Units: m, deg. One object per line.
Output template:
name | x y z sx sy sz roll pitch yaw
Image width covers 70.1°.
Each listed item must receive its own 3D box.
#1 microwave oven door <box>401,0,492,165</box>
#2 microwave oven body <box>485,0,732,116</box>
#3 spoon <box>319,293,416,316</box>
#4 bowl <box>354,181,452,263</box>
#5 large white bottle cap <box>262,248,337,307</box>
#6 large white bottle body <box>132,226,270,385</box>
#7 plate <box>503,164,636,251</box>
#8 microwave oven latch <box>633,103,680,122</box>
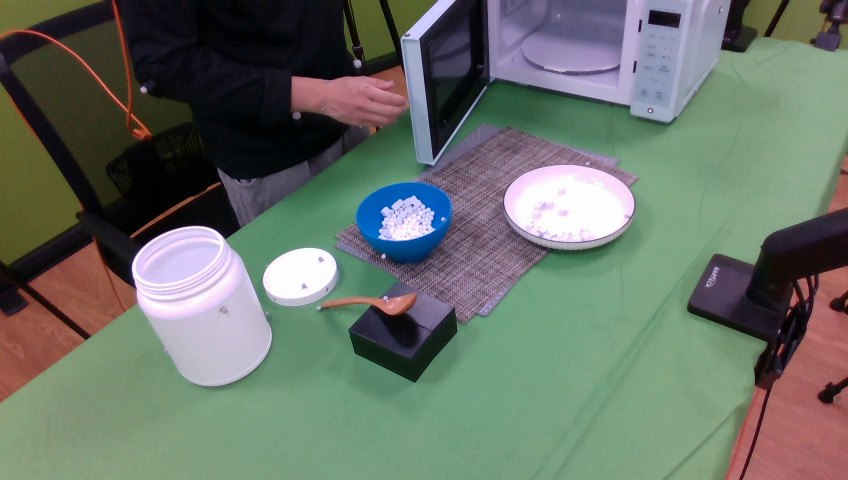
microwave oven door | 0.056 -0.343 1.166 0.039 0.245 0.356 11 44 21
microwave oven body | 0.377 -0.462 1.267 0.438 0.261 0.327 21 49 30
spoon | -0.082 0.086 0.826 0.192 0.022 0.041 -3 37 41
bowl | -0.028 -0.017 0.943 0.151 0.077 0.150 -4 40 4
large white bottle cap | -0.193 0.056 0.933 0.115 0.018 0.114 -5 41 5
large white bottle body | -0.286 0.085 0.783 0.130 0.185 0.130 -4 41 4
plate | 0.232 -0.051 0.976 0.209 0.038 0.208 -3 41 3
microwave oven latch | 0.443 -0.249 1.157 0.078 0.029 0.030 21 48 30
